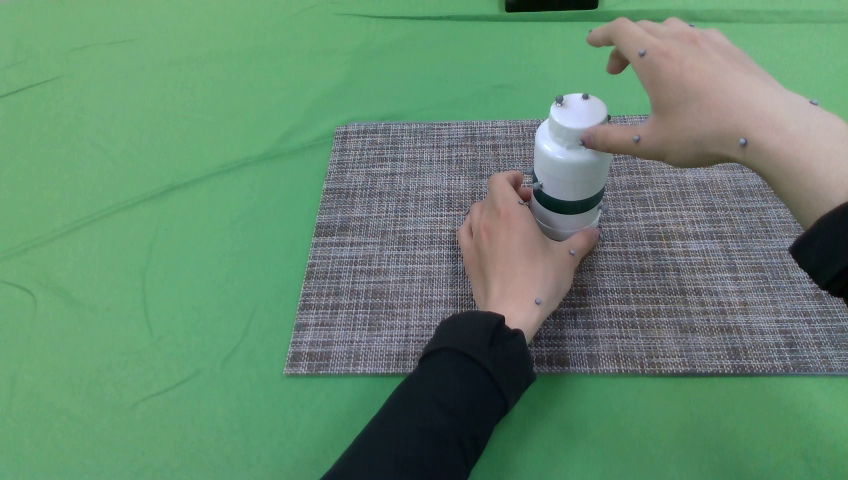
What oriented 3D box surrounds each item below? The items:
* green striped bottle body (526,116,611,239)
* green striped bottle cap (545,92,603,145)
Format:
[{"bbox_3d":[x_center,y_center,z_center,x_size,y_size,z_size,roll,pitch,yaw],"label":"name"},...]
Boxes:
[{"bbox_3d":[0.120,-0.061,0.509,0.063,0.120,0.062,-3,50,3],"label":"green striped bottle body"},{"bbox_3d":[0.116,-0.094,0.469,0.044,0.020,0.044,-3,52,5],"label":"green striped bottle cap"}]
